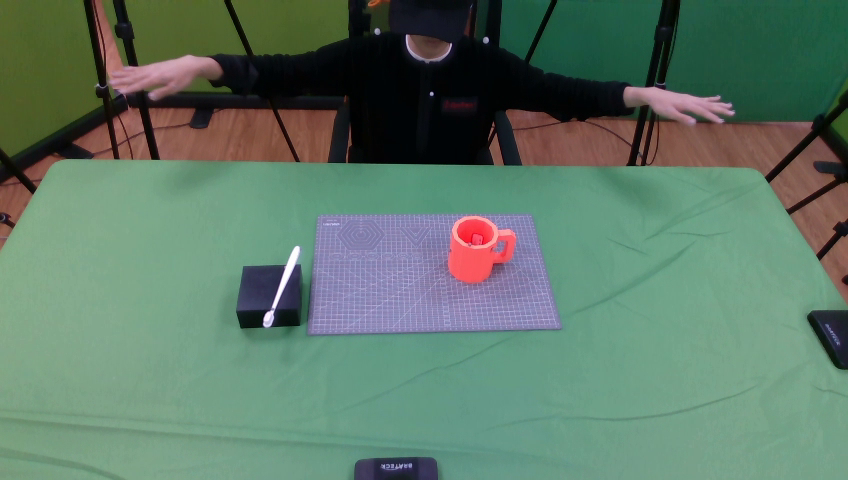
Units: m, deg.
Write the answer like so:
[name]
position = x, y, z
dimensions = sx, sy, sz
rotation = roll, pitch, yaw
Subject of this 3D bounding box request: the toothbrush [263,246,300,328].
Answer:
[toothbrush]
position = -0.243, 0.074, 1.042
dimensions = 0.014, 0.017, 0.181
rotation = 6, 45, 6

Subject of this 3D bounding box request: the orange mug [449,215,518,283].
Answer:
[orange mug]
position = 0.110, 0.015, 1.130
dimensions = 0.126, 0.101, 0.083
rotation = -8, 47, -6
